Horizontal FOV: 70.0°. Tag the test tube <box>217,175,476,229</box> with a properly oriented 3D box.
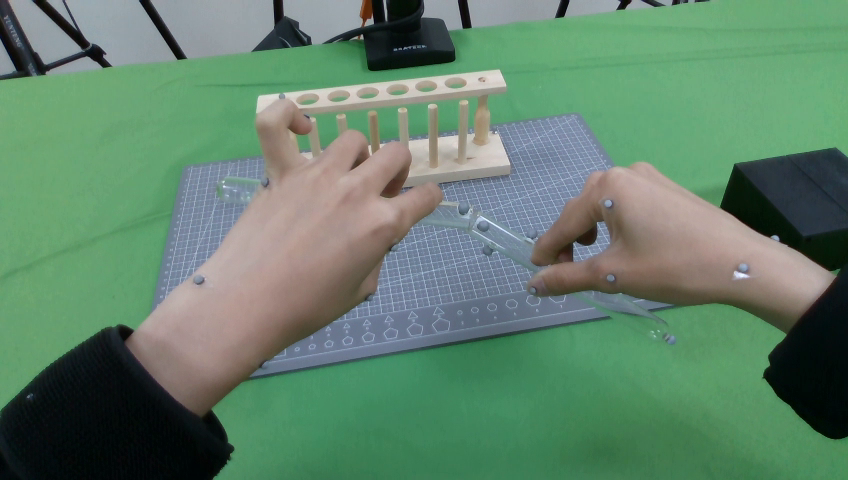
[{"bbox_3d":[-0.045,-0.022,0.349,0.150,0.017,0.017,6,44,1],"label":"test tube"}]

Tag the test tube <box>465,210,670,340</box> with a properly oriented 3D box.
[{"bbox_3d":[0.090,0.023,0.367,0.151,0.017,0.017,29,43,-14],"label":"test tube"}]

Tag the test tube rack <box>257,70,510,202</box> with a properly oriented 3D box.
[{"bbox_3d":[-0.037,-0.105,0.612,0.242,0.086,0.066,-7,43,-3],"label":"test tube rack"}]
